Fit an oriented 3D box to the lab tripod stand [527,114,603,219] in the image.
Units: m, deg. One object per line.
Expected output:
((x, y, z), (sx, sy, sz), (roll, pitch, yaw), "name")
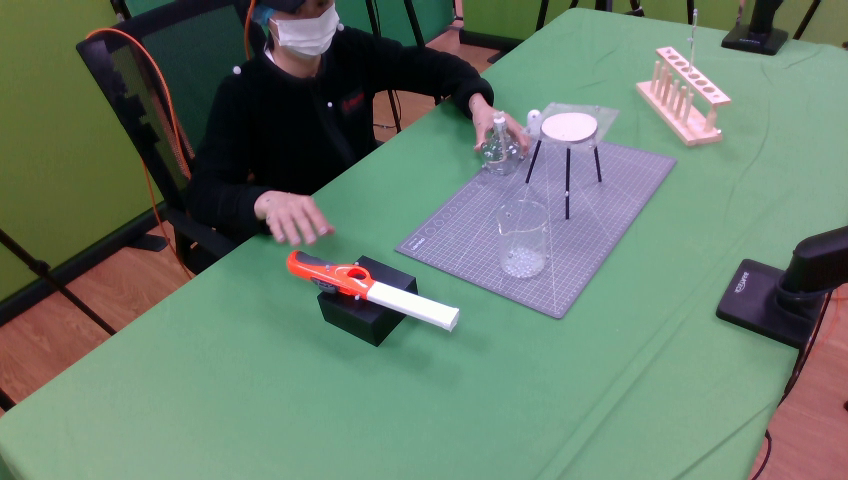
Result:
((0.234, -0.129, 1.002), (0.148, 0.132, 0.147), (-6, 40, 6), "lab tripod stand")

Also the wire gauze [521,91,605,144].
((0.219, -0.191, 0.948), (0.121, 0.011, 0.125), (8, 49, 13), "wire gauze")

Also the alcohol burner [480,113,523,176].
((0.139, -0.176, 1.089), (0.078, 0.119, 0.077), (-5, 42, 5), "alcohol burner")

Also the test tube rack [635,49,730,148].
((0.497, -0.283, 1.185), (0.067, 0.085, 0.240), (-10, 40, -2), "test tube rack")

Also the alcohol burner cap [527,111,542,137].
((0.220, -0.233, 1.200), (0.034, 0.048, 0.033), (-5, 41, 5), "alcohol burner cap")

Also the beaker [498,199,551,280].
((0.144, 0.003, 0.884), (0.073, 0.101, 0.084), (28, 52, 36), "beaker")

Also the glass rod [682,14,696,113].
((0.495, -0.326, 1.132), (0.008, 0.201, 0.008), (-8, 42, 8), "glass rod")

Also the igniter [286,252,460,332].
((-0.080, 0.067, 0.832), (0.275, 0.025, 0.057), (17, 46, 22), "igniter")
